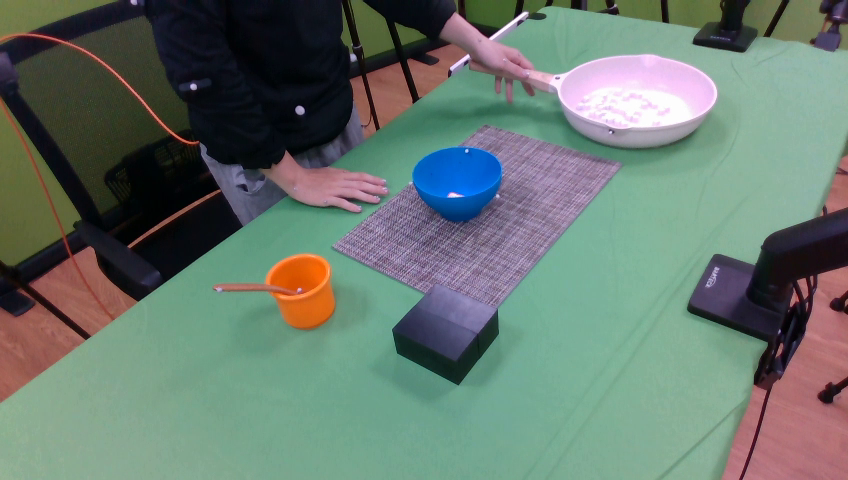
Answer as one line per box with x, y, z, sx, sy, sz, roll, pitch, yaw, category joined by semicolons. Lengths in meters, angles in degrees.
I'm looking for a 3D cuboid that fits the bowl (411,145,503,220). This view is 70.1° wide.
0.057;-0.086;1.010;0.151;0.077;0.150;-4;41;4;bowl

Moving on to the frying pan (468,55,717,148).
0.316;-0.304;1.213;0.485;0.103;0.307;20;46;17;frying pan

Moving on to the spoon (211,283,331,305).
-0.201;0.069;0.819;0.041;0.195;0.021;33;99;37;spoon
